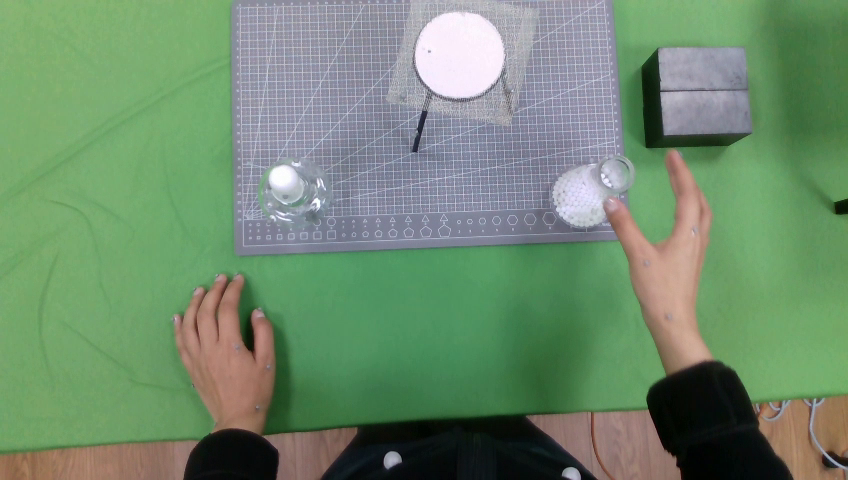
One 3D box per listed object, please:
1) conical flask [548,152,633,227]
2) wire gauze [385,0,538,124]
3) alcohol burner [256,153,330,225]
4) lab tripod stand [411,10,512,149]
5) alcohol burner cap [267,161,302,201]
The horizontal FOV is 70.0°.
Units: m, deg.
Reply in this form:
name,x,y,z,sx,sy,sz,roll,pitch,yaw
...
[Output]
name,x,y,z,sx,sy,sz,roll,pitch,yaw
conical flask,0.181,-0.059,0.640,0.075,0.122,0.075,0,83,-2
wire gauze,0.037,-0.179,0.574,0.121,0.011,0.125,15,83,0
alcohol burner,-0.140,-0.056,0.631,0.078,0.119,0.077,0,85,-2
lab tripod stand,0.029,-0.172,0.641,0.148,0.132,0.148,0,83,0
alcohol burner cap,-0.139,-0.060,0.596,0.034,0.048,0.033,1,79,-5
